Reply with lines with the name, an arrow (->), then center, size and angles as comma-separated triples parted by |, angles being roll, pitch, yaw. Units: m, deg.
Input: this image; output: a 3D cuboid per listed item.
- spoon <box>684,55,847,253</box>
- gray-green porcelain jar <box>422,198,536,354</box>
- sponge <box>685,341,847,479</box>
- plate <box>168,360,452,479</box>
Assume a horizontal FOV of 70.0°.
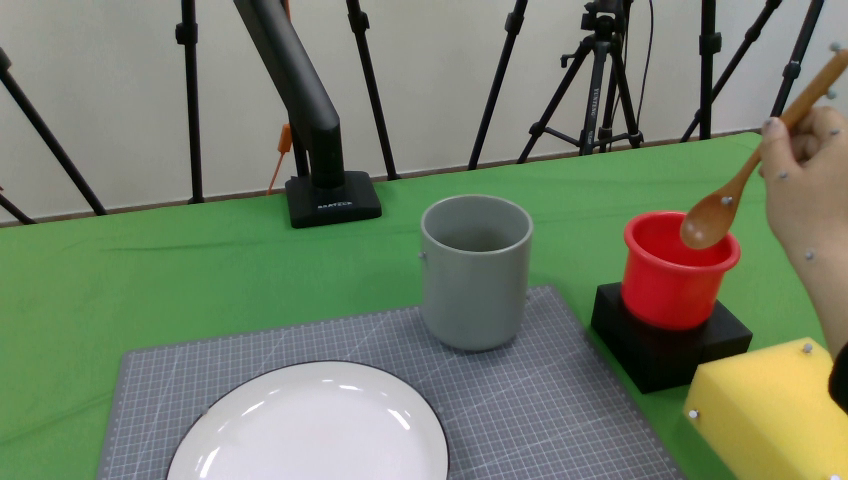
spoon -> 0.264, -0.059, 0.471 | 0.022, 0.195, 0.041 | -2, 50, -18
gray-green porcelain jar -> 0.051, 0.039, 0.590 | 0.106, 0.127, 0.105 | 0, 34, 0
sponge -> 0.314, 0.174, 0.451 | 0.118, 0.061, 0.204 | -10, 35, -15
plate -> -0.083, 0.177, 0.460 | 0.208, 0.039, 0.205 | 0, 34, 0
